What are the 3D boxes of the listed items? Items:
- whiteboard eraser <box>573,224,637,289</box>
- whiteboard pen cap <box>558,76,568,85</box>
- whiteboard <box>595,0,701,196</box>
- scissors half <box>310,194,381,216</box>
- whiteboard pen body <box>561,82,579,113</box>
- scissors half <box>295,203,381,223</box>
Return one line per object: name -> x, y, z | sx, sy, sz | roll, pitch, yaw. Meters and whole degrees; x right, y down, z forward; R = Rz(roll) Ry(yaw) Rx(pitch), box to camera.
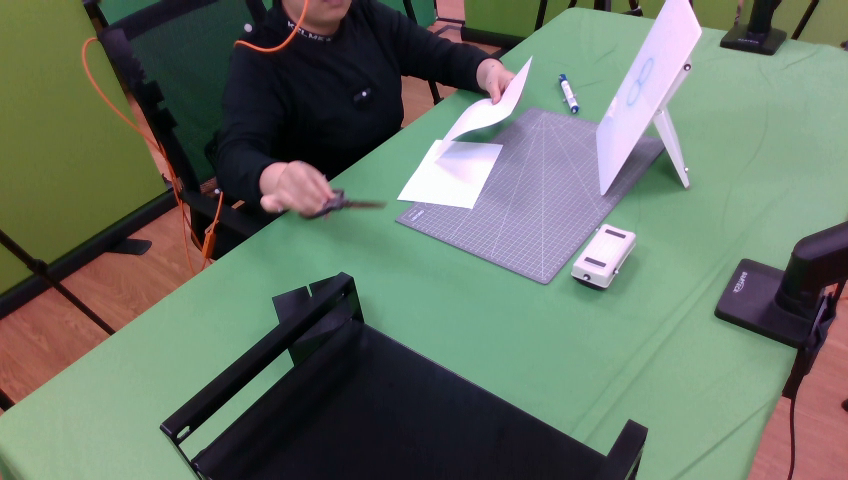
whiteboard eraser -> 0.267, 0.025, 0.891 | 0.055, 0.042, 0.113 | 19, 47, 31
whiteboard pen cap -> 0.309, -0.350, 1.340 | 0.018, 0.018, 0.033 | -7, 41, 1
whiteboard -> 0.420, -0.227, 1.010 | 0.144, 0.305, 0.216 | 18, 42, -2
scissors half -> -0.110, -0.047, 0.858 | 0.040, 0.013, 0.173 | -32, 28, -27
whiteboard pen body -> 0.310, -0.311, 1.298 | 0.017, 0.017, 0.140 | -6, 41, 2
scissors half -> -0.123, -0.037, 0.848 | 0.174, 0.013, 0.040 | 3, 37, 39
